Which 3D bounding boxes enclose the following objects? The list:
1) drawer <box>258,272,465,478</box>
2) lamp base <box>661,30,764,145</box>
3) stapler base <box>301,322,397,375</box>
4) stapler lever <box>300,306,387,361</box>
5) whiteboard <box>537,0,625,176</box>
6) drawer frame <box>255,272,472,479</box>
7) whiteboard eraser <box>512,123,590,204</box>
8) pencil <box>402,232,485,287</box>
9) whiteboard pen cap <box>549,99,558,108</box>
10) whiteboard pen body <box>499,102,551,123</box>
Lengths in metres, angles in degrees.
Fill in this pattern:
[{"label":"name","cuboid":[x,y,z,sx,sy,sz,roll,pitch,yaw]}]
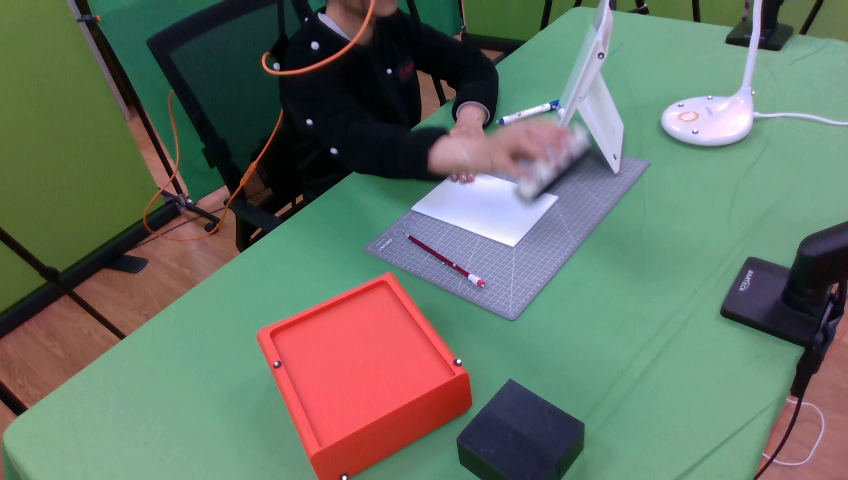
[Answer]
[{"label":"drawer","cuboid":[-0.082,0.159,0.764,0.195,0.073,0.210,-23,43,-17]},{"label":"lamp base","cuboid":[0.535,-0.287,1.096,0.179,0.181,0.159,-10,40,-4]},{"label":"stapler base","cuboid":[-0.102,0.139,0.814,0.131,0.024,0.041,-20,38,-12]},{"label":"stapler lever","cuboid":[-0.107,0.122,0.799,0.118,0.040,0.026,-18,38,-13]},{"label":"whiteboard","cuboid":[0.321,-0.258,1.049,0.144,0.306,0.217,20,45,4]},{"label":"drawer frame","cuboid":[-0.079,0.161,0.760,0.202,0.083,0.211,-24,43,-18]},{"label":"whiteboard eraser","cuboid":[0.163,-0.094,0.765,0.042,0.055,0.112,42,86,3]},{"label":"pencil","cuboid":[0.026,0.027,0.949,0.012,0.012,0.192,-34,45,-26]},{"label":"whiteboard pen cap","cuboid":[0.275,-0.287,1.269,0.033,0.018,0.018,-17,41,-13]},{"label":"whiteboard pen body","cuboid":[0.221,-0.268,1.257,0.141,0.017,0.017,-19,41,-13]}]
